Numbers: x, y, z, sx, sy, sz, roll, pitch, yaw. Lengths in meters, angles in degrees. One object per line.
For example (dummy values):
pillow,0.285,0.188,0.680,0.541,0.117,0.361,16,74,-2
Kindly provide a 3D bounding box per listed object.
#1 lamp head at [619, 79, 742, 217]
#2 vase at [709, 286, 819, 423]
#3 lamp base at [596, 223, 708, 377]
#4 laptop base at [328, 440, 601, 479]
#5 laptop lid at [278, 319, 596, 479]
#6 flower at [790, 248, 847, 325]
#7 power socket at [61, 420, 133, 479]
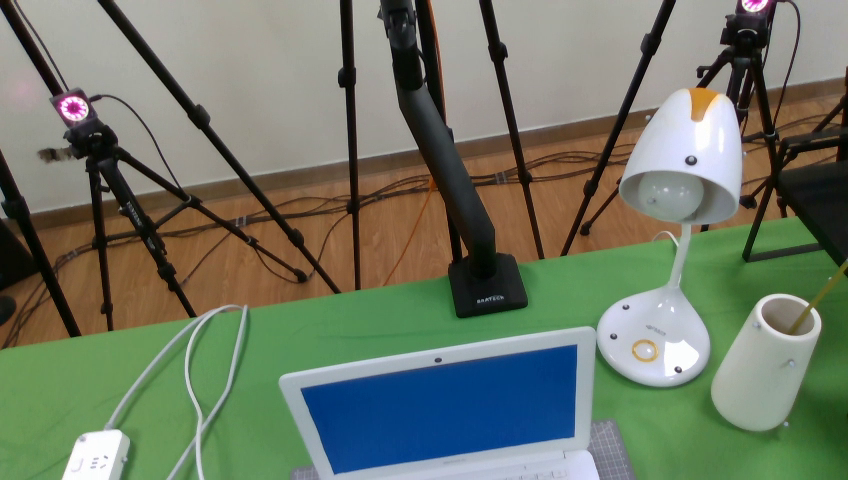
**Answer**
lamp head,0.267,-0.096,0.613,0.112,0.113,0.122,14,67,21
vase,0.424,0.145,0.761,0.098,0.202,0.097,-6,44,6
lamp base,0.336,0.073,0.859,0.159,0.182,0.178,17,48,23
laptop base,0.055,0.375,0.722,0.354,0.023,0.233,-9,49,0
laptop lid,0.027,0.200,0.729,0.357,0.244,0.013,-10,39,1
flower,0.434,0.085,0.702,0.038,0.364,0.043,8,37,-6
power socket,-0.459,0.348,0.820,0.072,0.033,0.224,-6,45,2
